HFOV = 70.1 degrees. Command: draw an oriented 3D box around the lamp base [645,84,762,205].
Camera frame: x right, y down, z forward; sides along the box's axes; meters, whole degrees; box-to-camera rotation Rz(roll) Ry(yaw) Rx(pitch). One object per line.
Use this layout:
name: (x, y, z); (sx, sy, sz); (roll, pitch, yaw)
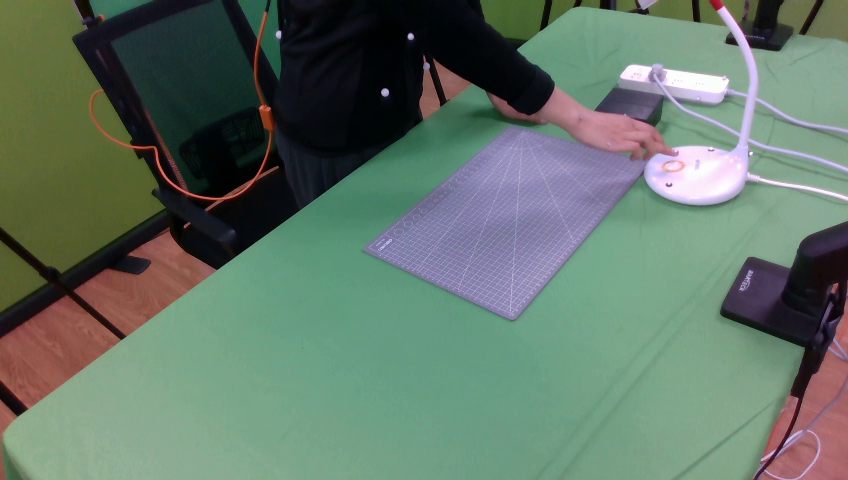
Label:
lamp base: (0.461, -0.170, 0.975); (0.179, 0.181, 0.160); (2, 41, 11)

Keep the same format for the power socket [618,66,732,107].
power socket: (0.517, -0.322, 1.259); (0.225, 0.033, 0.072); (19, 49, 29)

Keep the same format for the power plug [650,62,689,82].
power plug: (0.504, -0.340, 1.248); (0.072, 0.053, 0.035); (8, 59, 12)

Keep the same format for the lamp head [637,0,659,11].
lamp head: (0.330, -0.391, 0.827); (0.122, 0.113, 0.112); (-21, 35, 25)
